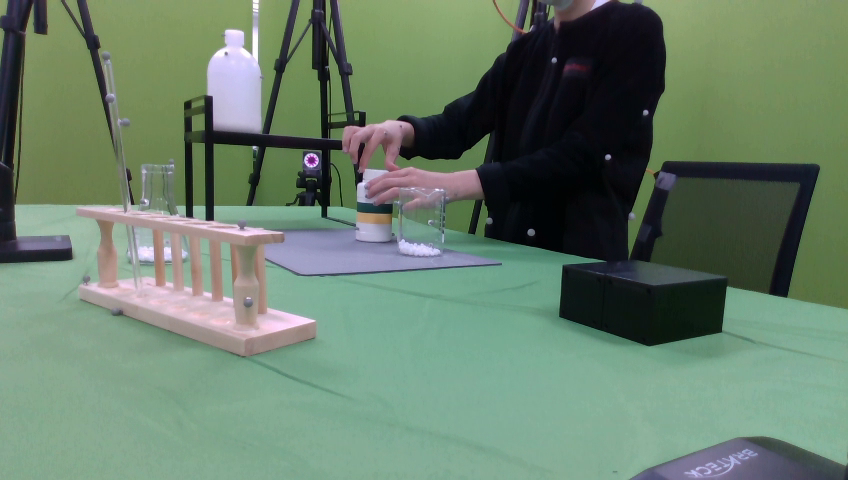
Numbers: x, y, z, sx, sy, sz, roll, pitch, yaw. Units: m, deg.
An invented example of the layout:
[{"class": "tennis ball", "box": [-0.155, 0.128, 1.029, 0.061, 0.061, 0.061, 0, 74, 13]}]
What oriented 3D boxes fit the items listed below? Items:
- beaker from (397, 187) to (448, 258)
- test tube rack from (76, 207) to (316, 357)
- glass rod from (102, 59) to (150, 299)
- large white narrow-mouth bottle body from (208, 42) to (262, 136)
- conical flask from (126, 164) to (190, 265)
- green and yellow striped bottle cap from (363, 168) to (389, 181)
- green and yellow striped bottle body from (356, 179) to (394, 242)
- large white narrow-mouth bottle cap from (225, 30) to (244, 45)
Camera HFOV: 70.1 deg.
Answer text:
[{"class": "beaker", "box": [-0.002, -0.027, 0.890, 0.074, 0.100, 0.084, 0, 8, -11]}, {"class": "test tube rack", "box": [-0.196, 0.023, 0.500, 0.241, 0.085, 0.067, 7, 9, 36]}, {"class": "glass rod", "box": [-0.243, -0.045, 0.496, 0.008, 0.199, 0.008, -4, 13, 1]}, {"class": "large white narrow-mouth bottle body", "box": [-0.368, -0.304, 1.181, 0.102, 0.194, 0.101, 2, 9, 0]}, {"class": "conical flask", "box": [-0.332, -0.033, 0.756, 0.075, 0.122, 0.075, 2, 7, 0]}, {"class": "green and yellow striped bottle cap", "box": [-0.081, -0.111, 1.022, 0.045, 0.020, 0.045, 4, 7, 0]}, {"class": "green and yellow striped bottle body", "box": [-0.083, -0.059, 1.029, 0.063, 0.119, 0.063, 3, 8, 0]}, {"class": "large white narrow-mouth bottle cap", "box": [-0.365, -0.390, 1.166, 0.038, 0.024, 0.037, 2, 9, 0]}]
